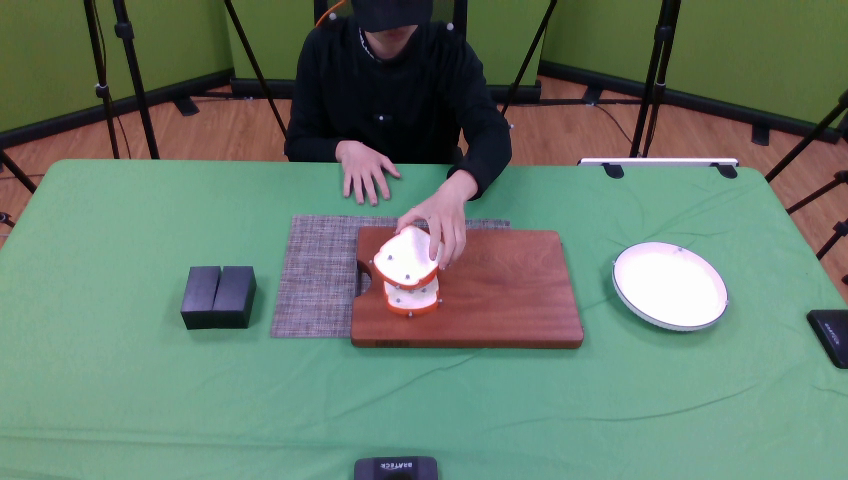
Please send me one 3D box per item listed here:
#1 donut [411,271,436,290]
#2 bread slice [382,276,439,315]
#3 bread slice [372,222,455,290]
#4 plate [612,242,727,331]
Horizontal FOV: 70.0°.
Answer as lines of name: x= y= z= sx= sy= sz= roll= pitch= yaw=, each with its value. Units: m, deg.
donut: x=-0.025 y=0.047 z=1.076 sx=0.099 sy=0.048 sz=0.098 roll=3 pitch=45 yaw=-3
bread slice: x=-0.024 y=0.079 z=1.087 sx=0.105 sy=0.019 sz=0.130 roll=-2 pitch=44 yaw=-5
bread slice: x=-0.023 y=0.032 z=1.049 sx=0.106 sy=0.018 sz=0.134 roll=28 pitch=48 yaw=18
plate: x=0.455 y=0.090 z=1.138 sx=0.209 sy=0.038 sz=0.208 roll=3 pitch=45 yaw=-2
